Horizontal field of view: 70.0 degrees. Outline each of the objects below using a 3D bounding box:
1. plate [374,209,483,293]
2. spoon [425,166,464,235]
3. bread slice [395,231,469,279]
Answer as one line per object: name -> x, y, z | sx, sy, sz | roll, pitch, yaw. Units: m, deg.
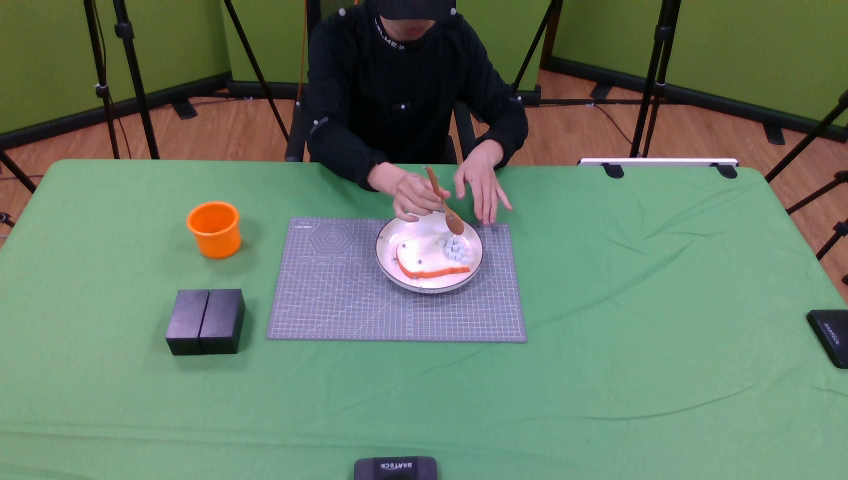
plate -> 0.009, 0.024, 1.160 | 0.209, 0.038, 0.208 | 2, 46, -2
spoon -> 0.035, -0.068, 1.097 | 0.041, 0.195, 0.021 | 19, 68, 31
bread slice -> 0.011, 0.030, 1.158 | 0.132, 0.019, 0.104 | -9, 47, -13
